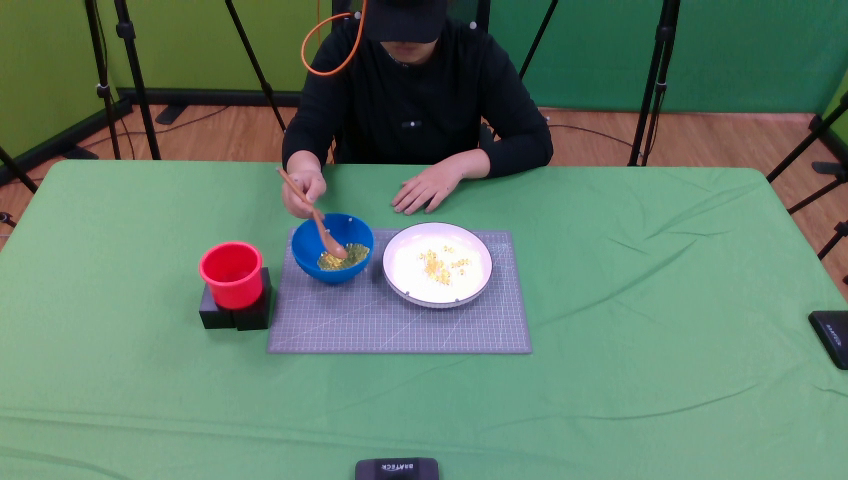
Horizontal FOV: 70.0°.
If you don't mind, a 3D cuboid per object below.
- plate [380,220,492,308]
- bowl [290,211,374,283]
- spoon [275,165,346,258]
[{"bbox_3d":[0.022,0.048,1.138,0.208,0.039,0.206,2,46,-2],"label":"plate"},{"bbox_3d":[-0.167,0.027,1.117,0.151,0.077,0.150,2,46,-2],"label":"bowl"},{"bbox_3d":[-0.192,-0.047,1.031,0.021,0.194,0.041,-24,18,21],"label":"spoon"}]
